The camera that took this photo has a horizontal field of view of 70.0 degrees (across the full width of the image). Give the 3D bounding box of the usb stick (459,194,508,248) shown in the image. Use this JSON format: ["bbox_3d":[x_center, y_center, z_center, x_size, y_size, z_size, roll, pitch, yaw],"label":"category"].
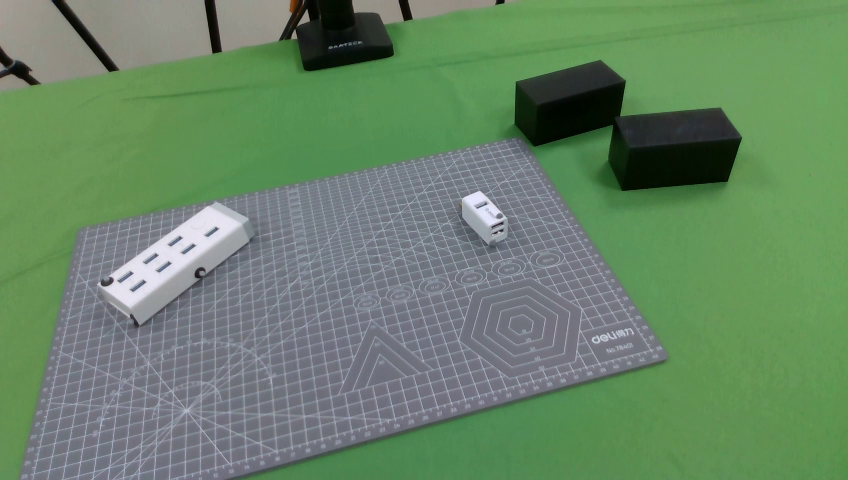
[{"bbox_3d":[0.050,-0.021,0.540,0.021,0.027,0.058,-26,44,-15],"label":"usb stick"}]

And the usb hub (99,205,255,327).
[{"bbox_3d":[-0.210,0.019,0.525,0.049,0.025,0.125,25,51,28],"label":"usb hub"}]
